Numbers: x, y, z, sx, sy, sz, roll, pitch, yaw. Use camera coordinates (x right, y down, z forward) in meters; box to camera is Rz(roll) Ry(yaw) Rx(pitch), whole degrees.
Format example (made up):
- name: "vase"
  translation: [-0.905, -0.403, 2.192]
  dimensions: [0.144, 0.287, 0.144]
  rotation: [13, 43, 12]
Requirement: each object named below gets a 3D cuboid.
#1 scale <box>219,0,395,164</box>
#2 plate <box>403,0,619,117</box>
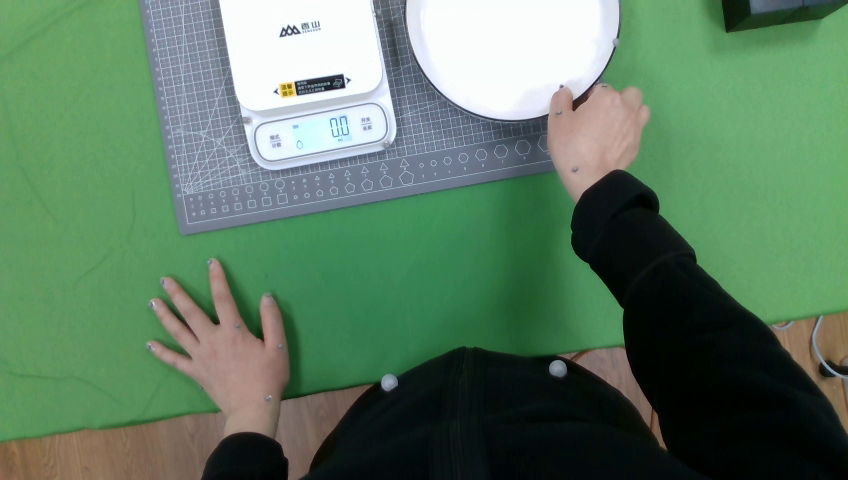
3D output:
- name: "scale"
  translation: [-0.117, -0.185, 0.600]
  dimensions: [0.149, 0.031, 0.201]
  rotation: [-10, 91, 1]
- name: "plate"
  translation: [0.084, -0.221, 0.596]
  dimensions: [0.209, 0.038, 0.209]
  rotation: [0, 90, 0]
